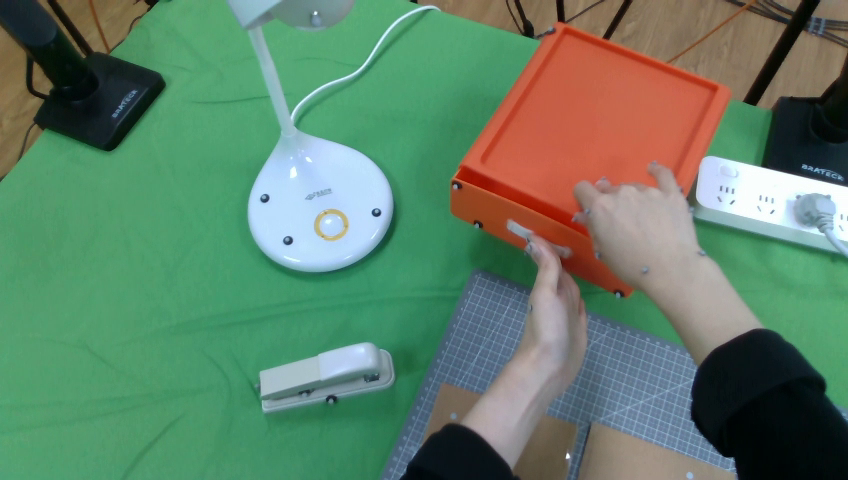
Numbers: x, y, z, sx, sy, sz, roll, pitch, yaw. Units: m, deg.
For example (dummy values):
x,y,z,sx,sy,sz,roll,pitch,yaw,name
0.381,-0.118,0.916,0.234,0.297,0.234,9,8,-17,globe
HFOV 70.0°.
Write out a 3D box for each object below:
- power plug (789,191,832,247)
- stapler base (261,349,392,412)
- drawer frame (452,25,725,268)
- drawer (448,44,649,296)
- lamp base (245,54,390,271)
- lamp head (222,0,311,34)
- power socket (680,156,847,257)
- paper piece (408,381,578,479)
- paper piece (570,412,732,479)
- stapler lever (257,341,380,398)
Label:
x,y,z,sx,sy,sz,roll,pitch,yaw,name
0.394,-0.019,0.627,0.035,0.053,0.072,25,66,13,power plug
-0.097,0.132,0.587,0.131,0.024,0.041,-11,60,-3,stapler base
0.164,-0.092,0.616,0.201,0.083,0.213,26,66,14,drawer frame
0.157,-0.078,0.610,0.193,0.074,0.211,27,66,14,drawer
-0.126,-0.083,0.609,0.160,0.182,0.177,-30,63,-14,lamp base
-0.089,-0.195,0.340,0.112,0.112,0.123,-37,106,-17,lamp head
0.394,-0.035,0.661,0.226,0.033,0.072,15,65,8,power socket
0.058,0.211,0.551,0.135,0.009,0.137,15,66,12,paper piece
0.192,0.242,0.534,0.135,0.004,0.135,23,66,12,paper piece
-0.100,0.120,0.564,0.118,0.040,0.026,-11,59,-3,stapler lever
